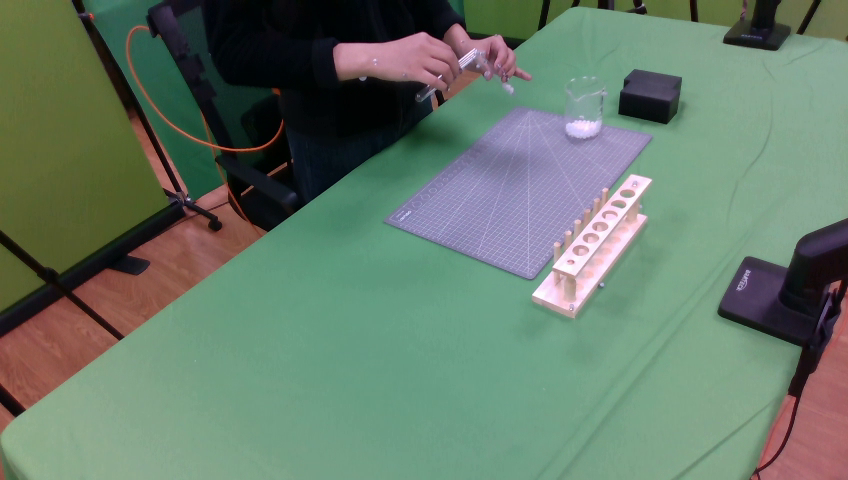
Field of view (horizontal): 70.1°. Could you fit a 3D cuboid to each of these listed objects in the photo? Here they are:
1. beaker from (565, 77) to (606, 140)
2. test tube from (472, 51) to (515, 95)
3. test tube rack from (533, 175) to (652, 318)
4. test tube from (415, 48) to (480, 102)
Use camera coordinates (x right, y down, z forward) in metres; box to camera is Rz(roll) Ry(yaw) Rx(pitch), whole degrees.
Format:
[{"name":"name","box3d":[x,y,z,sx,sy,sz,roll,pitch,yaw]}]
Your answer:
[{"name":"beaker","box3d":[0.304,-0.247,1.153,0.073,0.101,0.084,15,47,27]},{"name":"test tube","box3d":[0.127,-0.296,1.079,0.017,0.151,0.017,-9,72,31]},{"name":"test tube rack","box3d":[0.251,-0.001,0.889,0.066,0.085,0.243,22,49,33]},{"name":"test tube","box3d":[0.039,-0.270,0.988,0.017,0.017,0.151,30,61,37]}]
